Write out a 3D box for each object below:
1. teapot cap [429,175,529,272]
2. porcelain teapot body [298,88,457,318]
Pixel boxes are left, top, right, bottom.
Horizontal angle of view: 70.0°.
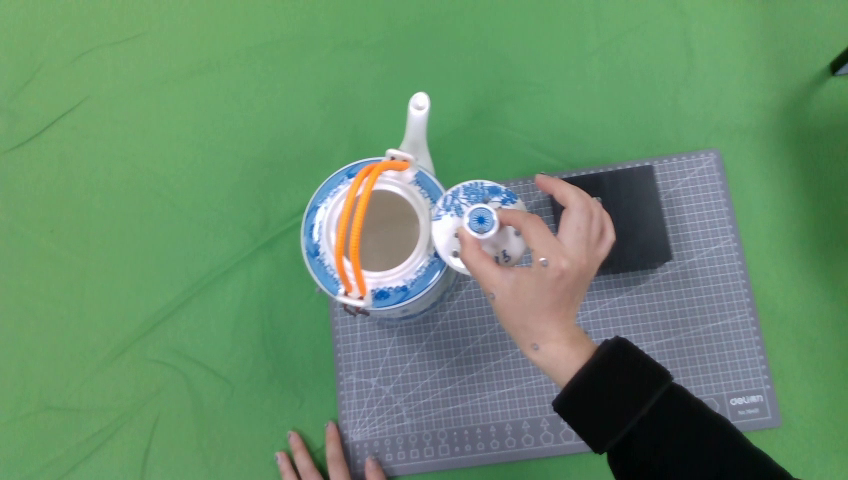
[{"bbox_3d":[0.045,-0.016,0.504,0.085,0.044,0.084,-1,76,5],"label":"teapot cap"},{"bbox_3d":[-0.033,-0.034,0.572,0.145,0.226,0.205,14,80,8],"label":"porcelain teapot body"}]
